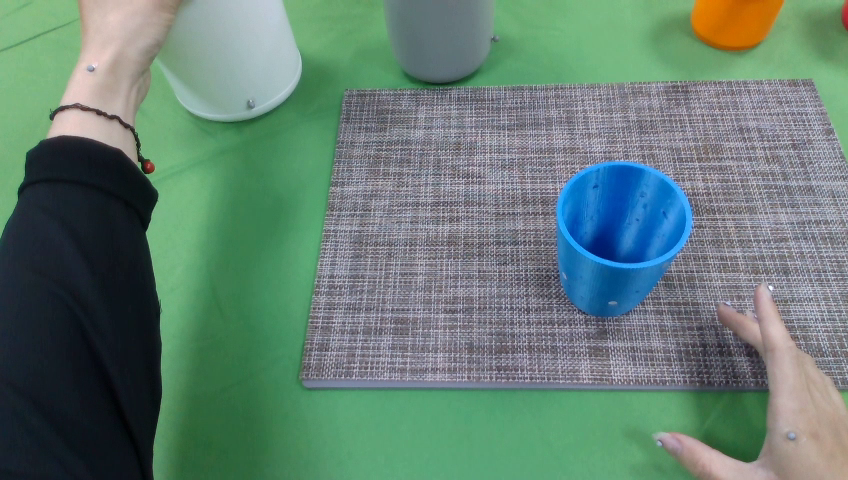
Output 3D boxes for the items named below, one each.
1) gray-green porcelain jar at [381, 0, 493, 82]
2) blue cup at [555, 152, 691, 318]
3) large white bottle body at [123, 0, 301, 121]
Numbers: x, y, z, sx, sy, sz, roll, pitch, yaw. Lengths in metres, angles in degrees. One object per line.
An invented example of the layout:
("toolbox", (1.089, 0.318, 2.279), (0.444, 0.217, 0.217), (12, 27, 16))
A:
("gray-green porcelain jar", (0.013, -0.224, 0.576), (0.106, 0.127, 0.105), (-2, 58, 4))
("blue cup", (0.133, 0.008, 0.433), (0.092, 0.101, 0.092), (-3, 57, 5))
("large white bottle body", (-0.196, -0.215, 0.551), (0.130, 0.186, 0.129), (-2, 58, 3))
